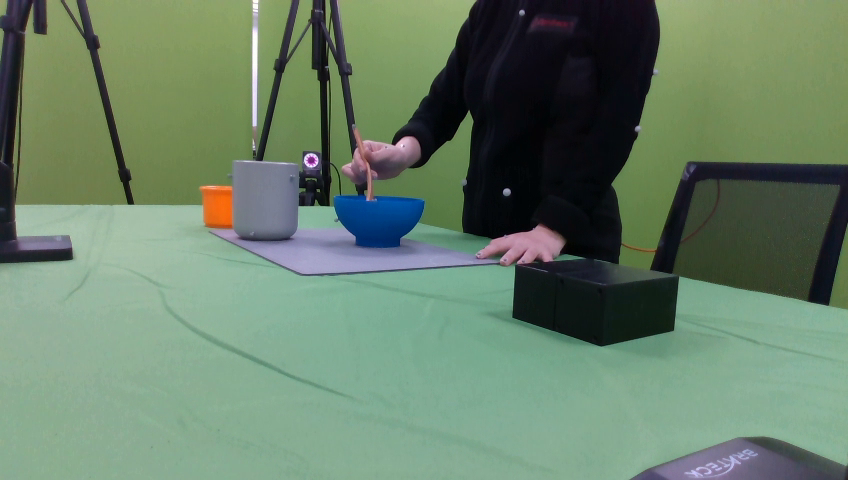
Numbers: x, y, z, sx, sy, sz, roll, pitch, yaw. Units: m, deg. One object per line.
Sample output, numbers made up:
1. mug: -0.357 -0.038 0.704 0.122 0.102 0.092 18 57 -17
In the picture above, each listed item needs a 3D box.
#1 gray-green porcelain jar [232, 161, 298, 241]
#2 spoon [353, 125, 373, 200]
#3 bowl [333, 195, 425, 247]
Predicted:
1. gray-green porcelain jar: -0.262 -0.065 0.999 0.106 0.126 0.106 3 7 0
2. spoon: -0.095 -0.104 1.008 0.021 0.193 0.042 -15 -15 18
3. bowl: -0.074 -0.031 0.987 0.151 0.077 0.151 3 7 0
